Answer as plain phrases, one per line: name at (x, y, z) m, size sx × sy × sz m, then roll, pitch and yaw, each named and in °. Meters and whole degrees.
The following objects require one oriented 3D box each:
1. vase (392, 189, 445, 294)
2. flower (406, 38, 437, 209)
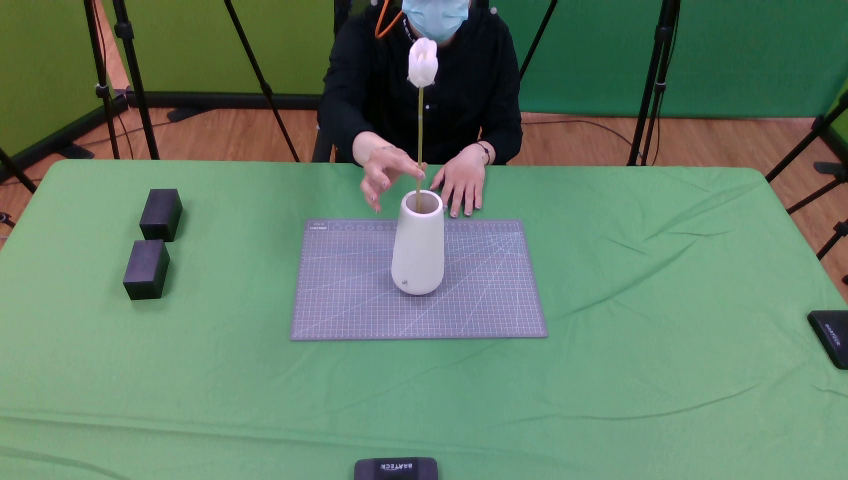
vase at (-0.007, 0.006, 1.060) m, size 0.098 × 0.201 × 0.097 m, roll 2°, pitch 48°, yaw -2°
flower at (-0.010, -0.140, 0.900) m, size 0.038 × 0.363 × 0.044 m, roll -9°, pitch 58°, yaw -9°
